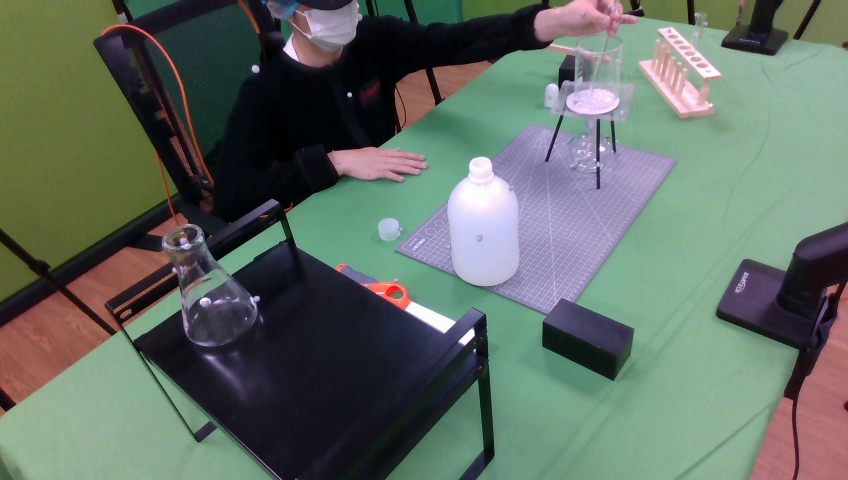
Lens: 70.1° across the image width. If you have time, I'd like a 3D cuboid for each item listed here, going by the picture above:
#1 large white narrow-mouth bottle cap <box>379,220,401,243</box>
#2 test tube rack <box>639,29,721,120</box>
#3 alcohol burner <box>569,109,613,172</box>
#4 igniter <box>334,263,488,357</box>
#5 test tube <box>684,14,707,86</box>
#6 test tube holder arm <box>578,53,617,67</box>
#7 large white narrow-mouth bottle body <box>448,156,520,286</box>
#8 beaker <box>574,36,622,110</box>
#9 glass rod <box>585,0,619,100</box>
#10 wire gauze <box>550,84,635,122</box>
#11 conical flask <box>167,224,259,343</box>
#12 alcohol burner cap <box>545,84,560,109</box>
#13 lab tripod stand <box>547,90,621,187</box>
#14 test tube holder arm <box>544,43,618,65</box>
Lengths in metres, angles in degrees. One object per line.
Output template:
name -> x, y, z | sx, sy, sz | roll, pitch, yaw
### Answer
large white narrow-mouth bottle cap -> -0.057, -0.015, 1.011 | 0.038, 0.024, 0.037 | -4, 40, 4
test tube rack -> 0.527, -0.351, 1.262 | 0.067, 0.085, 0.241 | -8, 40, 1
alcohol burner -> 0.297, -0.181, 1.073 | 0.078, 0.119, 0.077 | -5, 43, 5
igniter -> -0.030, 0.095, 0.872 | 0.274, 0.025, 0.057 | 23, 60, 31
test tube -> 0.541, -0.379, 1.216 | 0.017, 0.151, 0.017 | -2, 44, 3
test tube holder arm -> 0.376, -0.394, 1.314 | 0.087, 0.015, 0.010 | 26, 50, 32
large white narrow-mouth bottle body -> 0.086, -0.032, 0.869 | 0.102, 0.195, 0.101 | -4, 40, 4
beaker -> 0.285, -0.273, 0.990 | 0.073, 0.101, 0.084 | 15, 46, 27
glass rod -> 0.283, -0.311, 0.950 | 0.008, 0.200, 0.008 | 5, 41, -4
wire gauze -> 0.285, -0.234, 1.021 | 0.124, 0.011, 0.121 | 8, 41, 24
conical flask -> -0.220, 0.041, 0.613 | 0.075, 0.122, 0.075 | -5, 40, 4
alcohol burner cap -> 0.274, -0.307, 1.285 | 0.034, 0.048, 0.033 | -5, 42, 5
lab tripod stand -> 0.289, -0.184, 1.062 | 0.148, 0.132, 0.147 | -6, 41, 6
test tube holder arm -> 0.345, -0.413, 1.341 | 0.177, 0.015, 0.013 | 25, 49, 32
